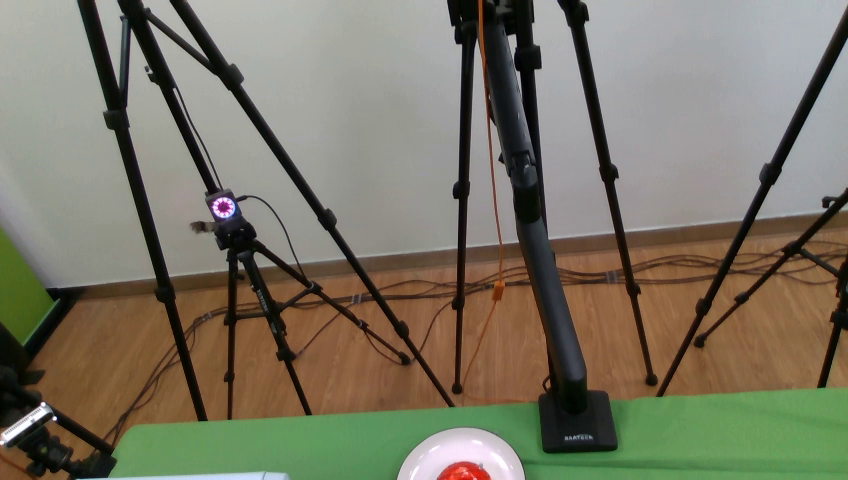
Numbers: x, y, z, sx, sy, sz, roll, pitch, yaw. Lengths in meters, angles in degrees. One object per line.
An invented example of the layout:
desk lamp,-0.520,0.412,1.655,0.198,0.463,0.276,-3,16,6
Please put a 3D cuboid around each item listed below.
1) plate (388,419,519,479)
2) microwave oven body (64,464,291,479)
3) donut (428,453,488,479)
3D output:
plate,0.048,0.381,0.958,0.207,0.039,0.205,-8,37,7
microwave oven body,-0.327,0.523,0.690,0.325,0.263,0.437,-6,38,8
donut,0.052,0.378,0.940,0.099,0.049,0.098,-11,37,9
